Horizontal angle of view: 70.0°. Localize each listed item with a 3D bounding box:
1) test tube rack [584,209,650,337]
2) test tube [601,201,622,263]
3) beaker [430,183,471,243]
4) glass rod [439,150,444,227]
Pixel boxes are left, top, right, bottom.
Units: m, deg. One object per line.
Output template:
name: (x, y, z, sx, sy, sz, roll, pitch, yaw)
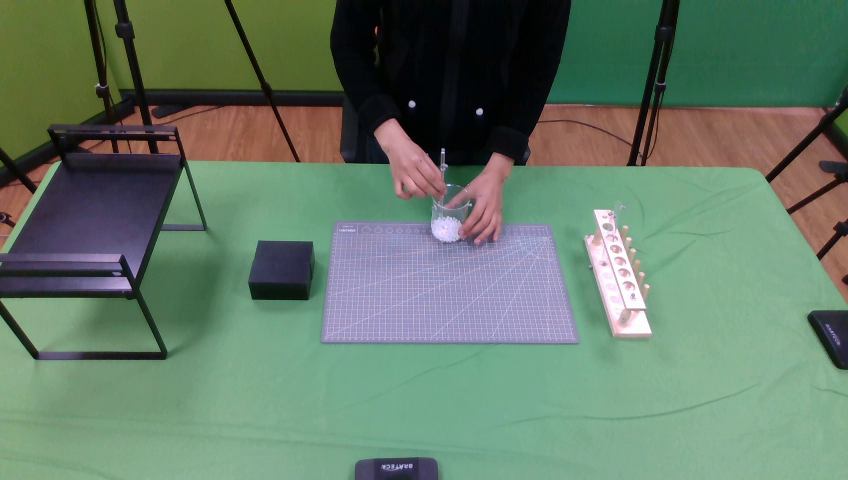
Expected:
test tube rack: (0.365, 0.056, 1.129, 0.067, 0.085, 0.240, 1, 46, -3)
test tube: (0.346, -0.012, 1.123, 0.017, 0.151, 0.017, -2, 45, 2)
beaker: (0.048, -0.052, 1.195, 0.074, 0.101, 0.083, -14, 48, -17)
glass rod: (0.034, -0.093, 1.143, 0.008, 0.201, 0.008, 0, 49, 1)
